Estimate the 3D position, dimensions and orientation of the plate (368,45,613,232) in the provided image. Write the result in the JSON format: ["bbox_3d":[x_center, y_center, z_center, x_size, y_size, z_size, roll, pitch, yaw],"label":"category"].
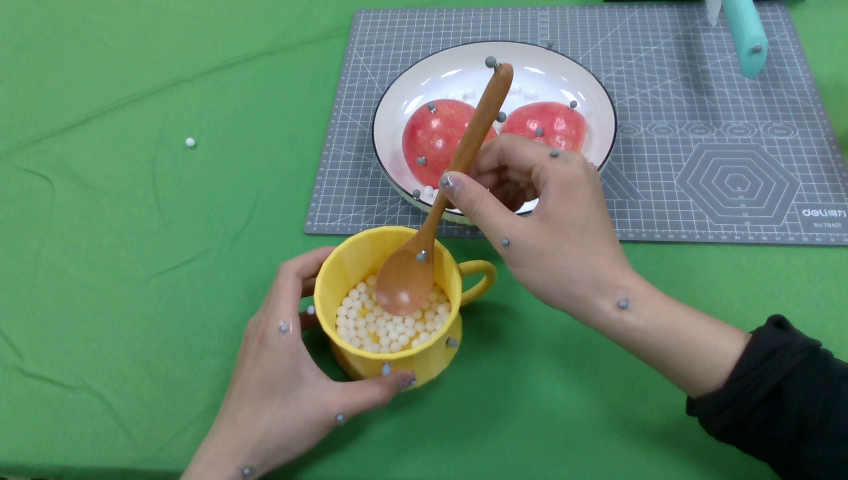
[{"bbox_3d":[0.056,-0.089,0.531,0.209,0.038,0.207,-3,56,4],"label":"plate"}]

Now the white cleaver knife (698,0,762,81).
[{"bbox_3d":[0.287,-0.248,0.596,0.021,0.066,0.284,-1,52,11],"label":"white cleaver knife"}]

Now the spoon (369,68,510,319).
[{"bbox_3d":[0.009,-0.020,0.386,0.041,0.194,0.021,34,37,9],"label":"spoon"}]

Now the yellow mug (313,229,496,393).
[{"bbox_3d":[-0.009,0.046,0.431,0.131,0.064,0.099,-18,62,-10],"label":"yellow mug"}]

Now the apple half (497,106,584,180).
[{"bbox_3d":[0.100,-0.092,0.520,0.081,0.033,0.080,-3,59,5],"label":"apple half"}]

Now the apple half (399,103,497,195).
[{"bbox_3d":[0.018,-0.085,0.512,0.081,0.054,0.074,-36,57,-17],"label":"apple half"}]
